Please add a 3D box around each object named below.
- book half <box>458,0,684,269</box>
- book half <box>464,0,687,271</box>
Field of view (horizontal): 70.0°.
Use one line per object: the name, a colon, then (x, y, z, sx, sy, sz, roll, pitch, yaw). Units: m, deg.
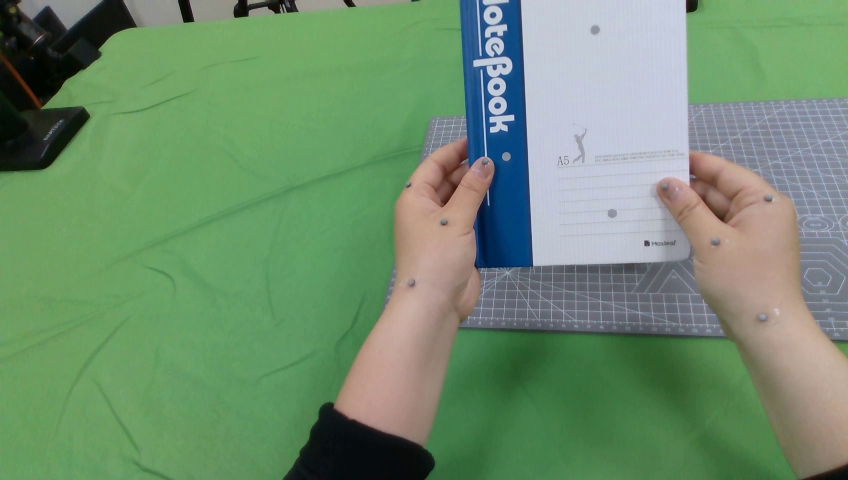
book half: (0.101, -0.086, 0.422, 0.148, 0.016, 0.210, -2, 93, 11)
book half: (0.102, -0.085, 0.416, 0.143, 0.007, 0.210, -2, 93, 11)
